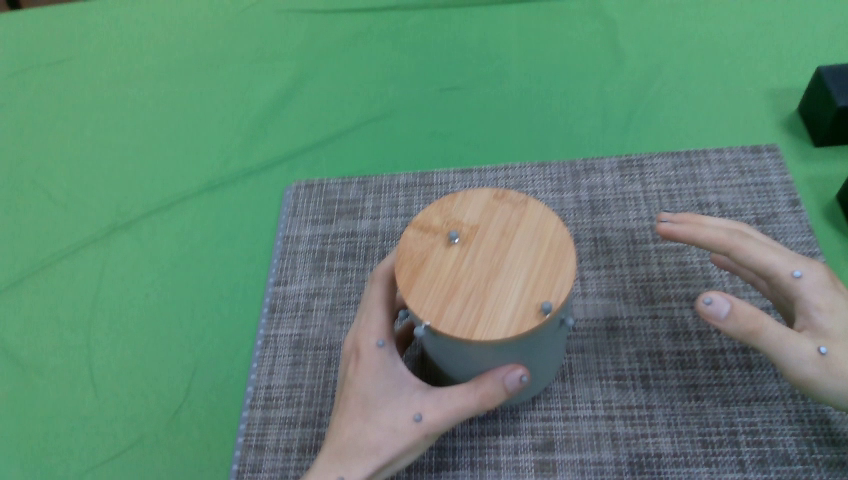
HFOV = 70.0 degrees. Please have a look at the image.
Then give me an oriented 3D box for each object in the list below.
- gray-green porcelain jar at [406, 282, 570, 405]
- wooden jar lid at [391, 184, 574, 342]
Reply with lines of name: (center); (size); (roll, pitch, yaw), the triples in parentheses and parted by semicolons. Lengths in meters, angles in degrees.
gray-green porcelain jar: (0.044, 0.048, 0.417); (0.106, 0.128, 0.105); (-4, 54, 6)
wooden jar lid: (0.035, 0.013, 0.366); (0.108, 0.021, 0.107); (-3, 58, 5)
